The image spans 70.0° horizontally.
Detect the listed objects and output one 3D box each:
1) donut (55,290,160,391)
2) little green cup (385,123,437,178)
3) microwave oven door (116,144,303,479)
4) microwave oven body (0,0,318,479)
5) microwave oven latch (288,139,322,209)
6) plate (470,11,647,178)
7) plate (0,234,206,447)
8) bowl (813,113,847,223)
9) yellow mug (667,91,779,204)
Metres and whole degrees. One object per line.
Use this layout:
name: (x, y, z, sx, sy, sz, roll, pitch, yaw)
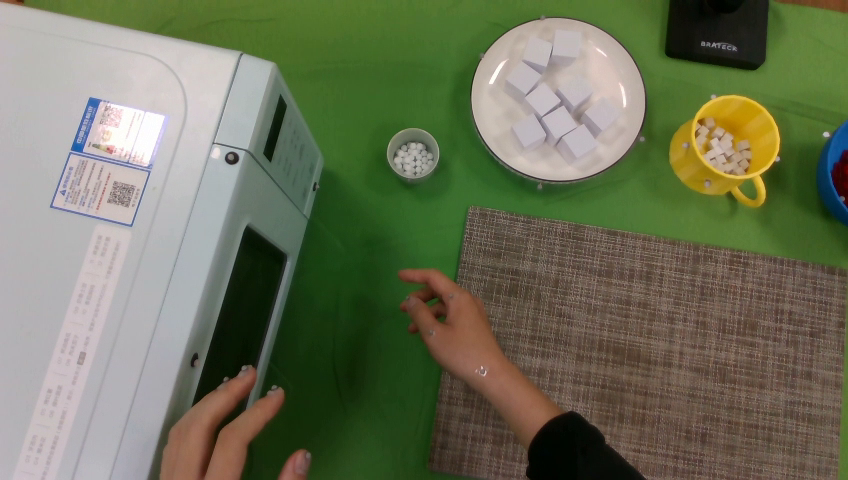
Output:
donut: (-0.312, 0.099, 0.602, 0.099, 0.048, 0.099, 0, 83, -3)
little green cup: (-0.014, -0.103, 0.713, 0.061, 0.039, 0.061, 0, 82, 1)
microwave oven door: (-0.192, 0.114, 0.555, 0.039, 0.244, 0.354, 12, 80, 2)
microwave oven body: (-0.324, 0.042, 0.572, 0.326, 0.261, 0.440, 13, 81, 2)
microwave oven latch: (-0.139, -0.078, 0.691, 0.030, 0.029, 0.079, 16, 81, 2)
plate: (0.158, -0.171, 0.727, 0.208, 0.039, 0.207, 0, 80, 0)
plate: (-0.323, 0.100, 0.616, 0.209, 0.038, 0.208, 0, 81, 0)
bowl: (0.509, -0.074, 0.691, 0.151, 0.077, 0.151, 0, 80, 0)
yellow mug: (0.352, -0.100, 0.702, 0.100, 0.064, 0.130, -27, 82, -4)
